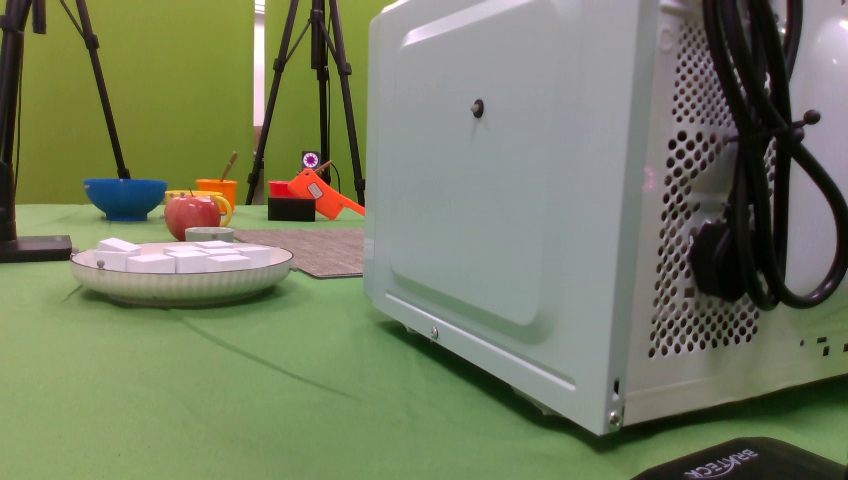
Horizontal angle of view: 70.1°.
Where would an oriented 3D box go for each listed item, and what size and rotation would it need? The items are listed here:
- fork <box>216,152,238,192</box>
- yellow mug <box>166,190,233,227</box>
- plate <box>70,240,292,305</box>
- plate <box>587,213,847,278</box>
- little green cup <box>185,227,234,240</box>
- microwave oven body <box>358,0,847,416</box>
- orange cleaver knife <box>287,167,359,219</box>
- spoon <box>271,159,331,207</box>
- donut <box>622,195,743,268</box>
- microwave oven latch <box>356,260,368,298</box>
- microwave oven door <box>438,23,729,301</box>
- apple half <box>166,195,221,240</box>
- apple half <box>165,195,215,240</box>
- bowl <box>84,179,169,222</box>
[{"bbox_3d":[-0.455,-0.132,1.367,0.028,0.018,0.207,-2,-35,-37],"label":"fork"},{"bbox_3d":[-0.415,-0.057,1.132,0.130,0.064,0.100,6,8,16],"label":"yellow mug"},{"bbox_3d":[-0.242,0.031,0.618,0.208,0.039,0.207,2,8,0],"label":"plate"},{"bbox_3d":[0.244,0.001,0.512,0.209,0.038,0.209,2,6,0],"label":"plate"},{"bbox_3d":[-0.285,0.005,0.805,0.061,0.038,0.061,2,8,0],"label":"little green cup"},{"bbox_3d":[0.211,-0.047,0.474,0.444,0.260,0.324,-1,8,-28],"label":"microwave oven body"},{"bbox_3d":[-0.209,-0.089,1.383,0.212,0.077,0.012,31,3,-15],"label":"orange cleaver knife"},{"bbox_3d":[-0.308,-0.142,1.514,0.193,0.021,0.041,-41,4,8],"label":"spoon"},{"bbox_3d":[0.220,-0.006,0.518,0.099,0.048,0.099,23,0,1],"label":"donut"},{"bbox_3d":[-0.020,0.033,0.530,0.079,0.029,0.030,0,7,-26],"label":"microwave oven latch"},{"bbox_3d":[0.181,-0.072,0.620,0.358,0.243,0.039,-2,8,-29],"label":"microwave oven door"},{"bbox_3d":[-0.351,-0.032,0.935,0.081,0.074,0.053,1,11,-40],"label":"apple half"},{"bbox_3d":[-0.377,-0.038,0.964,0.082,0.081,0.032,-4,15,-39],"label":"apple half"},{"bbox_3d":[-0.584,-0.078,1.194,0.151,0.077,0.151,3,8,0],"label":"bowl"}]
